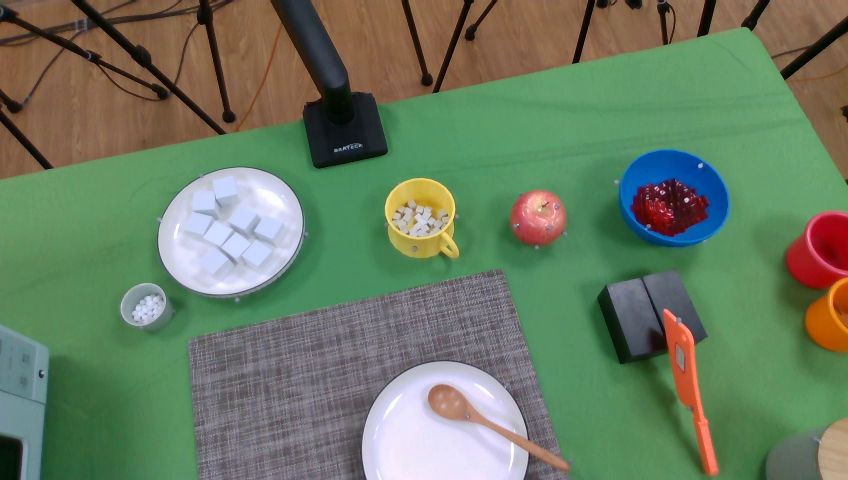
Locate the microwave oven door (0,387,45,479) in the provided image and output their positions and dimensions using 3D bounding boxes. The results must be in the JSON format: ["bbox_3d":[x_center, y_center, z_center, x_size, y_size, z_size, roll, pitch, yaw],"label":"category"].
[{"bbox_3d":[-0.476,0.317,0.605,0.039,0.245,0.352,-10,66,-3],"label":"microwave oven door"}]

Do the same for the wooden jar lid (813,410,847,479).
[{"bbox_3d":[0.469,0.238,0.648,0.108,0.021,0.107,0,68,0],"label":"wooden jar lid"}]

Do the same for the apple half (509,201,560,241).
[{"bbox_3d":[0.151,-0.017,0.862,0.081,0.082,0.032,26,66,12],"label":"apple half"}]

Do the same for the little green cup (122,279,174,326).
[{"bbox_3d":[-0.379,0.089,0.837,0.061,0.039,0.061,0,66,-1],"label":"little green cup"}]

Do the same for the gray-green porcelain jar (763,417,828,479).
[{"bbox_3d":[0.470,0.265,0.705,0.106,0.127,0.105,0,65,1],"label":"gray-green porcelain jar"}]

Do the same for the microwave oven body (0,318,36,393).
[{"bbox_3d":[-0.627,0.305,0.617,0.326,0.262,0.438,-9,67,-4],"label":"microwave oven body"}]

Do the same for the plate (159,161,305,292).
[{"bbox_3d":[-0.276,-0.018,0.886,0.208,0.039,0.206,0,66,1],"label":"plate"}]

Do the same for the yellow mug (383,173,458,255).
[{"bbox_3d":[0.003,-0.027,0.873,0.100,0.064,0.130,-40,72,-16],"label":"yellow mug"}]

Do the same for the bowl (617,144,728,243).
[{"bbox_3d":[0.346,-0.055,0.875,0.151,0.077,0.150,0,66,1],"label":"bowl"}]

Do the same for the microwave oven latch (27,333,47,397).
[{"bbox_3d":[-0.510,0.163,0.786,0.030,0.030,0.078,-9,67,-4],"label":"microwave oven latch"}]

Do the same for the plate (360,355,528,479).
[{"bbox_3d":[0.024,0.250,0.759,0.209,0.038,0.207,0,66,0],"label":"plate"}]

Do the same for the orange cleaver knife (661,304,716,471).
[{"bbox_3d":[0.330,0.184,0.762,0.012,0.077,0.212,-15,99,-2],"label":"orange cleaver knife"}]

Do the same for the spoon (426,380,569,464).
[{"bbox_3d":[0.089,0.229,0.754,0.192,0.022,0.041,23,62,23],"label":"spoon"}]

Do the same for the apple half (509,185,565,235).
[{"bbox_3d":[0.169,-0.047,0.877,0.080,0.075,0.053,25,65,15],"label":"apple half"}]

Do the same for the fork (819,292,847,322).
[{"bbox_3d":[0.558,0.119,0.756,0.028,0.019,0.206,7,22,0],"label":"fork"}]
